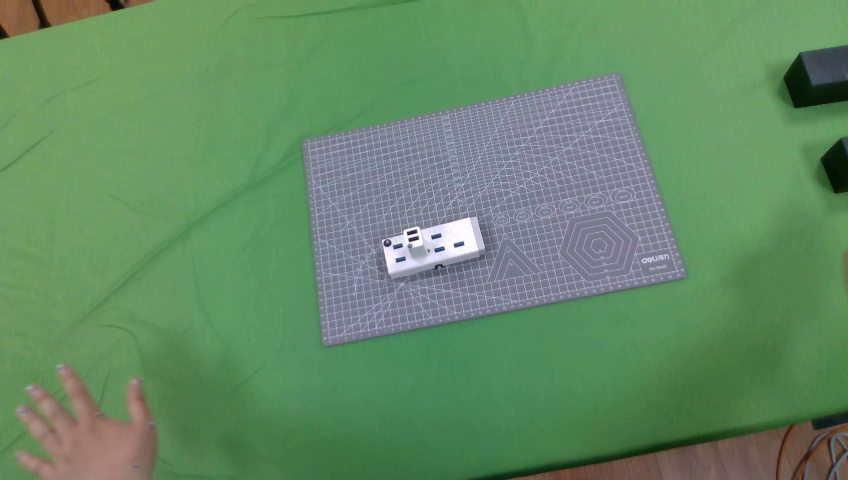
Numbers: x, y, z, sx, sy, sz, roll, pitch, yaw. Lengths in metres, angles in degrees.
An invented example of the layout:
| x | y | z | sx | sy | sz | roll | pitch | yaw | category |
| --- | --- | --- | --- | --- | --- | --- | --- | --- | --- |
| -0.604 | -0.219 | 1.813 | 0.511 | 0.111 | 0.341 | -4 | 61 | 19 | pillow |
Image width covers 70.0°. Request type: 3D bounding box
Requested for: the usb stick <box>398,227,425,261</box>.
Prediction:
| x | y | z | sx | sy | sz | roll | pitch | yaw | category |
| --- | --- | --- | --- | --- | --- | --- | --- | --- | --- |
| -0.014 | 0.007 | 0.735 | 0.021 | 0.059 | 0.027 | -18 | 66 | 2 | usb stick |

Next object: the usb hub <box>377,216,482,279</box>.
| x | y | z | sx | sy | sz | roll | pitch | yaw | category |
| --- | --- | --- | --- | --- | --- | --- | --- | --- | --- |
| 0.007 | 0.009 | 0.763 | 0.125 | 0.025 | 0.049 | -15 | 68 | 2 | usb hub |
